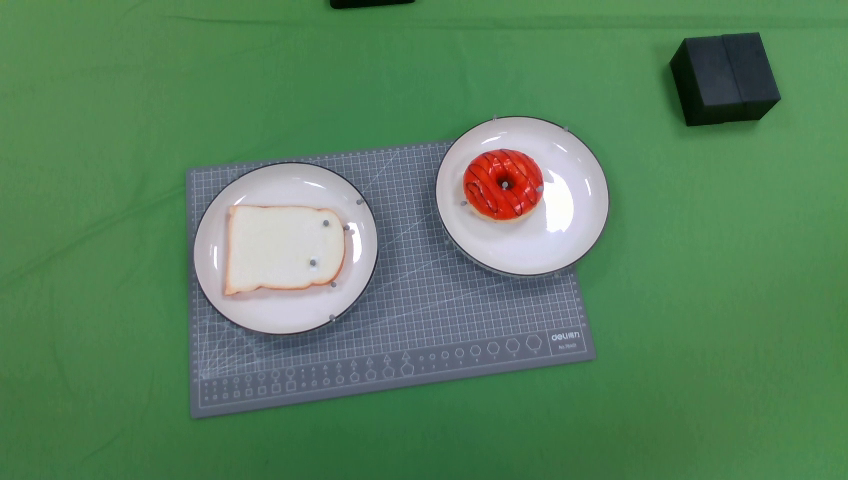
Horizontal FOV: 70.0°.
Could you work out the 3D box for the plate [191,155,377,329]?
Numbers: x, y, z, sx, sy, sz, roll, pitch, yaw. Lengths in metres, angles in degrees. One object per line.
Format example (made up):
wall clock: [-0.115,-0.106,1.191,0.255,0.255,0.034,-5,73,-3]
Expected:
plate: [-0.157,0.003,0.698,0.209,0.038,0.207,1,71,-2]

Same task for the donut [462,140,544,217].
donut: [0.094,-0.074,0.720,0.099,0.048,0.098,0,67,0]

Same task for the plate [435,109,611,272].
plate: [0.116,-0.058,0.728,0.208,0.039,0.206,1,71,-2]

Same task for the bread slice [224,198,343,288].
bread slice: [-0.162,-0.001,0.700,0.134,0.018,0.106,-5,73,-4]
